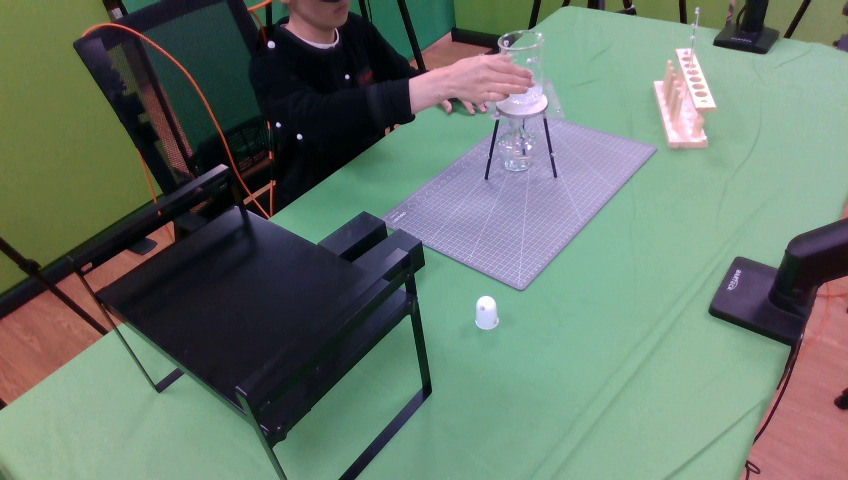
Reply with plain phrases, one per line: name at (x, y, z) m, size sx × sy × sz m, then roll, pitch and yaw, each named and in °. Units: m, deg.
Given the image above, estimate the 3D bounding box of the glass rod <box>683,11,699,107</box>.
glass rod at (0.501, -0.335, 1.138) m, size 0.008 × 0.201 × 0.008 m, roll -7°, pitch 45°, yaw 7°

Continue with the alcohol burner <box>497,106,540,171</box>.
alcohol burner at (0.170, -0.187, 1.092) m, size 0.078 × 0.119 × 0.077 m, roll -6°, pitch 41°, yaw 6°

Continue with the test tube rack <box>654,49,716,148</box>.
test tube rack at (0.502, -0.280, 1.176) m, size 0.066 × 0.085 × 0.241 m, roll 2°, pitch 41°, yaw 11°

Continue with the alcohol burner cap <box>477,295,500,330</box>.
alcohol burner cap at (0.089, 0.097, 0.833) m, size 0.034 × 0.048 × 0.033 m, roll -4°, pitch 42°, yaw 4°

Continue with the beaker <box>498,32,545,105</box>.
beaker at (0.166, -0.283, 1.001) m, size 0.084 × 0.101 × 0.073 m, roll -25°, pitch 42°, yaw -19°

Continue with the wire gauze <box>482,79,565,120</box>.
wire gauze at (0.168, -0.238, 1.034) m, size 0.125 × 0.011 × 0.121 m, roll -6°, pitch 41°, yaw 2°

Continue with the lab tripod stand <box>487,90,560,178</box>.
lab tripod stand at (0.175, -0.185, 1.074) m, size 0.148 × 0.132 × 0.147 m, roll -5°, pitch 42°, yaw 5°
